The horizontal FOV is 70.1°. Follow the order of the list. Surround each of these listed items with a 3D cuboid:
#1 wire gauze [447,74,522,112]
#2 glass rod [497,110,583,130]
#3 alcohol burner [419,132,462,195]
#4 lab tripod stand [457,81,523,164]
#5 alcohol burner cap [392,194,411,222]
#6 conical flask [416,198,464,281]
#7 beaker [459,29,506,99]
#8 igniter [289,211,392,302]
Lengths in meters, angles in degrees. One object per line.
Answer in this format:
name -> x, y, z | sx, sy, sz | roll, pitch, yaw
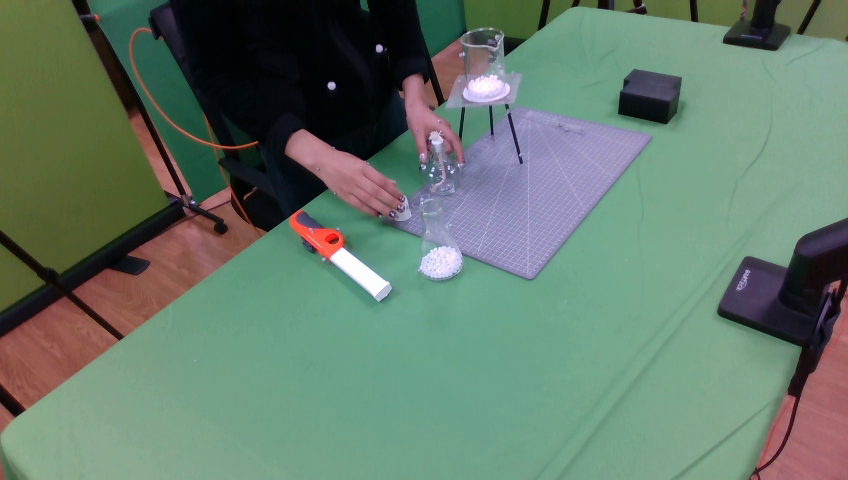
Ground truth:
wire gauze -> 0.110, -0.268, 1.087 | 0.121, 0.011, 0.125 | 1, 43, 15
glass rod -> 0.233, -0.245, 1.235 | 0.198, 0.008, 0.008 | 20, 49, 35
alcohol burner -> 0.028, -0.139, 1.068 | 0.078, 0.119, 0.077 | -4, 40, 4
lab tripod stand -> 0.120, -0.219, 1.130 | 0.148, 0.132, 0.147 | -7, 39, 6
alcohol burner cap -> -0.041, -0.057, 1.040 | 0.034, 0.048, 0.033 | -4, 38, 4
conical flask -> 0.019, -0.004, 0.907 | 0.075, 0.122, 0.075 | -5, 40, 5
beaker -> 0.107, -0.305, 1.056 | 0.074, 0.101, 0.083 | -27, 43, -18
igniter -> -0.146, 0.019, 0.986 | 0.057, 0.025, 0.274 | -39, 48, -18
